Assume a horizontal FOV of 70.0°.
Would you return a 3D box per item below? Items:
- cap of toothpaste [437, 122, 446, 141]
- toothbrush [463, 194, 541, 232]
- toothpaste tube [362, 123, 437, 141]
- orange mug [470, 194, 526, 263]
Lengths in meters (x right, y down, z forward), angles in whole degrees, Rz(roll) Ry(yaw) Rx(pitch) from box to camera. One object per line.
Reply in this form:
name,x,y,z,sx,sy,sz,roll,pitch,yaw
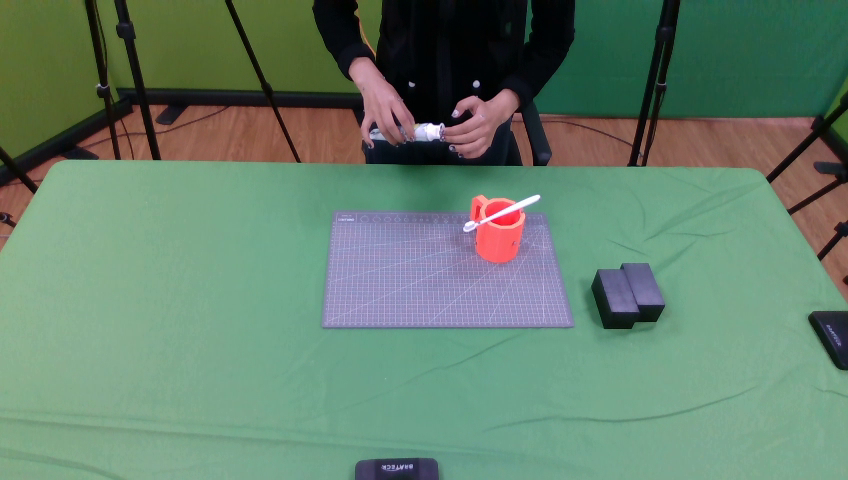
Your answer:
cap of toothpaste,0.032,-0.211,1.175,0.011,0.037,0.037,3,45,18
toothbrush,0.149,-0.054,1.131,0.182,0.017,0.014,-23,47,-24
toothpaste tube,-0.040,-0.217,1.209,0.165,0.034,0.055,4,30,23
orange mug,0.136,-0.030,1.180,0.083,0.101,0.125,-26,58,-26
